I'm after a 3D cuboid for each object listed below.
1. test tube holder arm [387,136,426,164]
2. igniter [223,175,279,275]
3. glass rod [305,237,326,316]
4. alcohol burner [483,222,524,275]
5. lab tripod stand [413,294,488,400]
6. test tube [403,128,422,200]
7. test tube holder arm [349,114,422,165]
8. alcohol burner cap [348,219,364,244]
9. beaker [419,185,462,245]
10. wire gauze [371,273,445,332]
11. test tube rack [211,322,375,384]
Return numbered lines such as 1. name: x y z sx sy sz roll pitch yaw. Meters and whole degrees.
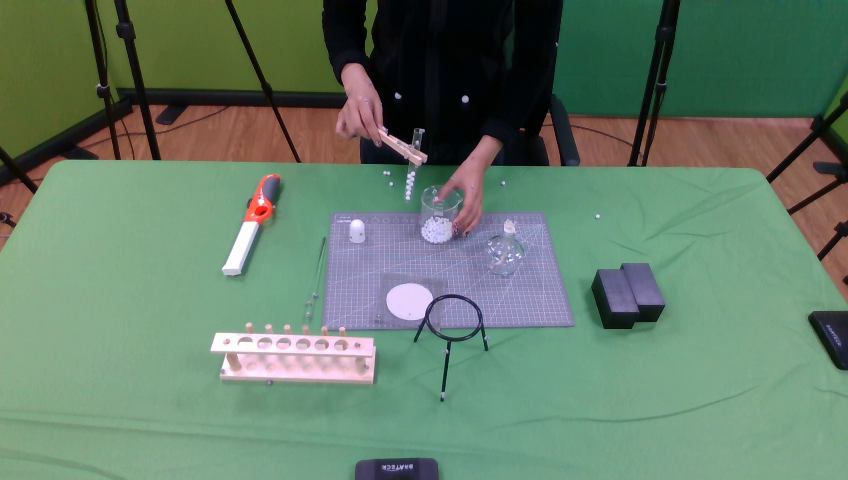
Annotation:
1. test tube holder arm: -0.034 -0.164 1.091 0.087 0.015 0.010 31 37 18
2. igniter: -0.341 -0.039 1.206 0.057 0.025 0.275 -1 45 8
3. glass rod: -0.202 0.063 1.131 0.008 0.008 0.198 3 44 0
4. alcohol burner: 0.152 0.009 1.135 0.078 0.119 0.077 4 47 -4
5. lab tripod stand: 0.044 0.159 0.972 0.148 0.132 0.147 2 44 -2
6. test tube: -0.022 -0.134 1.093 0.017 0.151 0.017 7 39 -5
7. test tube holder arm: -0.072 -0.184 1.104 0.177 0.015 0.013 35 38 24
8. alcohol burner cap: -0.134 -0.019 1.190 0.034 0.048 0.033 2 46 -2
9. beaker: 0.029 -0.046 1.190 0.084 0.101 0.073 -4 47 -9
10. wire gauze: -0.028 0.108 1.100 0.125 0.011 0.121 7 45 4
11. test tube rack: -0.203 0.176 0.969 0.242 0.085 0.066 3 46 -2
